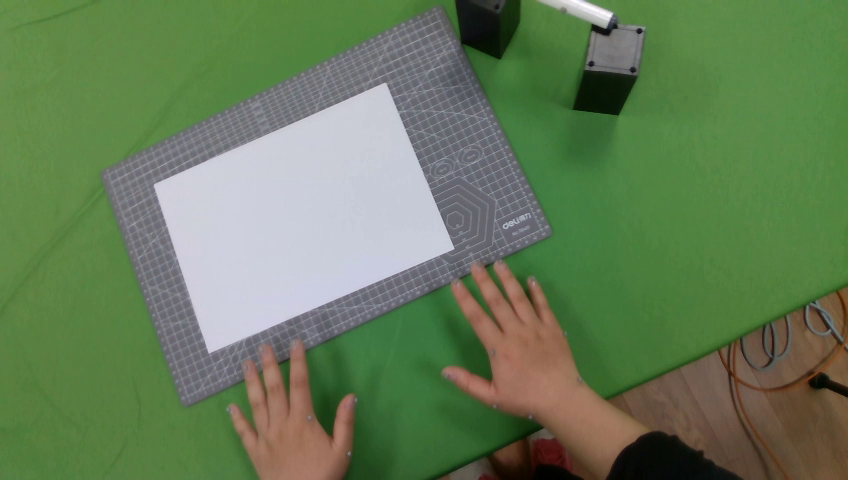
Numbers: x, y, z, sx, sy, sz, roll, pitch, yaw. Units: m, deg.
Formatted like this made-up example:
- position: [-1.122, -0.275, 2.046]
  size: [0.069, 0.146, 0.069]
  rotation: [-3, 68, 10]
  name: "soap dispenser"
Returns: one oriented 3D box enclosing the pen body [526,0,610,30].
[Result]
- position: [0.108, -0.234, 0.579]
  size: [0.143, 0.017, 0.017]
  rotation: [27, 86, 9]
  name: "pen body"
